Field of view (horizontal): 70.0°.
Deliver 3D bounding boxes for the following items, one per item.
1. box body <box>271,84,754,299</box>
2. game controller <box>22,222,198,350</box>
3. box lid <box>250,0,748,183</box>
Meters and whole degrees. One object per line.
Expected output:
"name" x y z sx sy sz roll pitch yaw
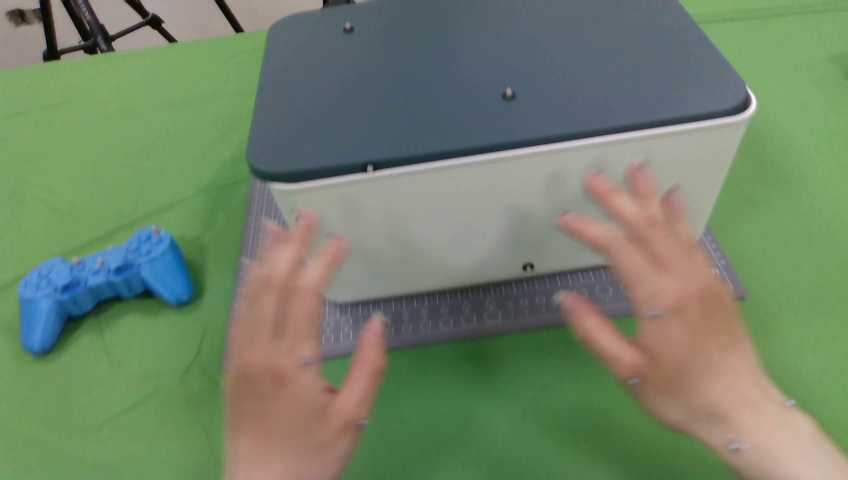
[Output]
"box body" 0.060 -0.101 0.565 0.364 0.162 0.251 -9 47 0
"game controller" -0.301 0.035 0.576 0.155 0.052 0.096 -19 44 -10
"box lid" 0.041 -0.159 0.514 0.371 0.015 0.260 -9 46 1
